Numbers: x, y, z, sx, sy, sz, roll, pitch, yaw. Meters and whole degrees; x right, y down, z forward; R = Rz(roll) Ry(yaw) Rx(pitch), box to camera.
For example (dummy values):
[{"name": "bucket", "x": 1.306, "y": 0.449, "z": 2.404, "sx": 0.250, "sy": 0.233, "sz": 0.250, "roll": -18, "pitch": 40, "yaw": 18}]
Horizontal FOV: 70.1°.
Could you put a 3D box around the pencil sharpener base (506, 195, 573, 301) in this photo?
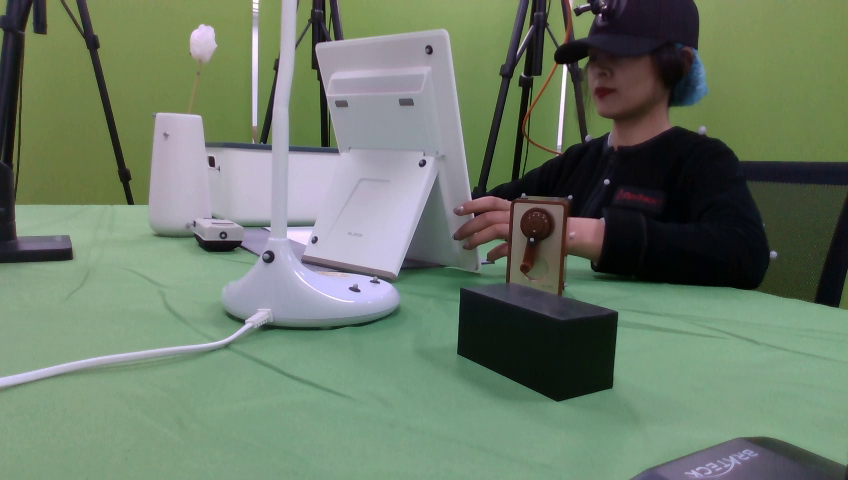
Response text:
[{"name": "pencil sharpener base", "x": 0.127, "y": 0.007, "z": 0.663, "sx": 0.061, "sy": 0.107, "sz": 0.077, "roll": 5, "pitch": 8, "yaw": 15}]

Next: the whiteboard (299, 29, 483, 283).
[{"name": "whiteboard", "x": -0.074, "y": -0.082, "z": 0.742, "sx": 0.216, "sy": 0.305, "sz": 0.144, "roll": 9, "pitch": 29, "yaw": 38}]

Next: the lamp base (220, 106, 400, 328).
[{"name": "lamp base", "x": -0.102, "y": -0.023, "z": 0.531, "sx": 0.160, "sy": 0.180, "sz": 0.179, "roll": 4, "pitch": 10, "yaw": 10}]

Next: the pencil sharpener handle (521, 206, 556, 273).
[{"name": "pencil sharpener handle", "x": 0.112, "y": 0.000, "z": 0.613, "sx": 0.036, "sy": 0.067, "sz": 0.031, "roll": 12, "pitch": 10, "yaw": 14}]

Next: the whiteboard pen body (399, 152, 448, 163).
[{"name": "whiteboard pen body", "x": -0.001, "y": -0.142, "z": 1.041, "sx": 0.017, "sy": 0.017, "sz": 0.141, "roll": 7, "pitch": 9, "yaw": 33}]

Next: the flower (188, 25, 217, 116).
[{"name": "flower", "x": -0.394, "y": -0.189, "z": 1.011, "sx": 0.044, "sy": 0.361, "sz": 0.038, "roll": -1, "pitch": -13, "yaw": 28}]

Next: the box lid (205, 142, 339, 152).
[{"name": "box lid", "x": -0.270, "y": -0.196, "z": 1.311, "sx": 0.373, "sy": 0.015, "sz": 0.262, "roll": -2, "pitch": 9, "yaw": -30}]

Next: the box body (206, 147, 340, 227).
[{"name": "box body", "x": -0.276, "y": -0.122, "z": 1.320, "sx": 0.366, "sy": 0.160, "sz": 0.253, "roll": -2, "pitch": 9, "yaw": -30}]

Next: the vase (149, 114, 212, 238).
[{"name": "vase", "x": -0.405, "y": -0.106, "z": 1.005, "sx": 0.098, "sy": 0.200, "sz": 0.098, "roll": 2, "pitch": 6, "yaw": 0}]

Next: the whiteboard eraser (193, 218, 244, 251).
[{"name": "whiteboard eraser", "x": -0.307, "y": -0.009, "z": 0.900, "sx": 0.056, "sy": 0.042, "sz": 0.112, "roll": -4, "pitch": 11, "yaw": -28}]

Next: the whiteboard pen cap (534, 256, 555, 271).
[{"name": "whiteboard pen cap", "x": 0.166, "y": 0.032, "z": 0.839, "sx": 0.018, "sy": 0.018, "sz": 0.033, "roll": -1, "pitch": 7, "yaw": -23}]
